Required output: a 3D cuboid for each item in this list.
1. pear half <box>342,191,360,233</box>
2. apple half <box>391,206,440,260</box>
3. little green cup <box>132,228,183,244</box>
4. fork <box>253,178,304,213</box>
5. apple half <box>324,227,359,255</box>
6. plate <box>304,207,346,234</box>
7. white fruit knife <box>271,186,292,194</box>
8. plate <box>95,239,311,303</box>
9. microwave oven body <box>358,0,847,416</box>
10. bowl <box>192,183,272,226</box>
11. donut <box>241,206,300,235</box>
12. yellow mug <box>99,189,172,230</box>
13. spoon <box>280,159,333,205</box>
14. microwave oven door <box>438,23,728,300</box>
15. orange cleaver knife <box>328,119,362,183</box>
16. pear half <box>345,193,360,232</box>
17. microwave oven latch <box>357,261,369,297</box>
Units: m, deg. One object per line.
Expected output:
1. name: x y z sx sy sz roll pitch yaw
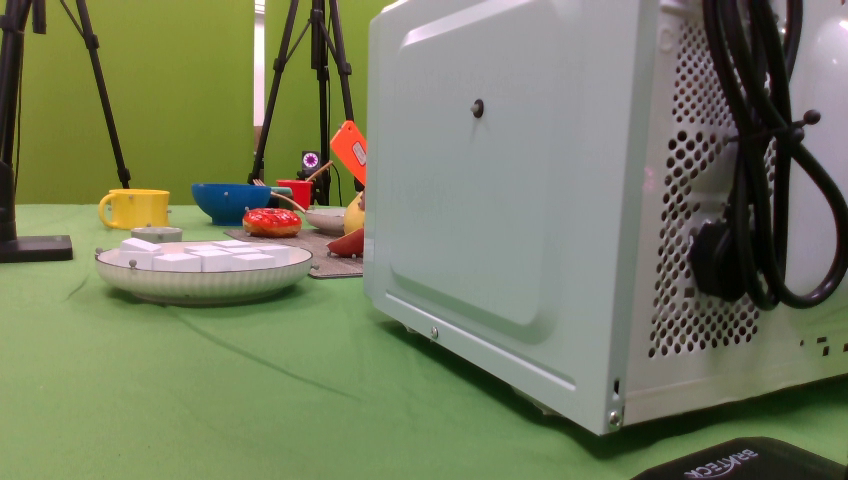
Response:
1. pear half: -0.104 -0.036 0.950 0.031 0.088 0.071 8 15 40
2. apple half: -0.006 -0.009 0.837 0.053 0.074 0.081 10 6 23
3. little green cup: -0.342 0.006 0.779 0.061 0.038 0.061 2 8 0
4. fork: -0.294 -0.084 1.293 0.206 0.018 0.028 29 12 26
5. apple half: -0.095 0.002 0.848 0.081 0.033 0.081 -21 0 0
6. plate: -0.123 -0.037 1.149 0.209 0.038 0.209 2 7 0
7. white fruit knife: -0.399 -0.111 1.368 0.208 0.016 0.027 -4 -20 -29
8. plate: -0.224 0.031 0.629 0.208 0.039 0.207 2 7 0
9. microwave oven body: 0.211 -0.047 0.475 0.444 0.260 0.324 -1 7 -28
10. bowl: -0.381 -0.071 1.202 0.151 0.077 0.151 3 7 0
11. donut: -0.263 -0.032 1.039 0.099 0.048 0.099 4 10 0
12. yellow mug: -0.518 -0.055 1.080 0.099 0.064 0.131 6 9 26
13. spoon: -0.316 -0.159 1.639 0.194 0.022 0.041 -49 32 -20
14. microwave oven door: 0.181 -0.072 0.621 0.358 0.243 0.039 -2 8 -29
15. orange cleaver knife: -0.077 -0.112 0.975 0.012 0.077 0.212 -4 -32 38
16. pear half: -0.078 -0.041 0.925 0.055 0.110 0.077 5 10 42
17. microwave oven latch: -0.019 0.033 0.531 0.079 0.029 0.030 -1 7 -27
